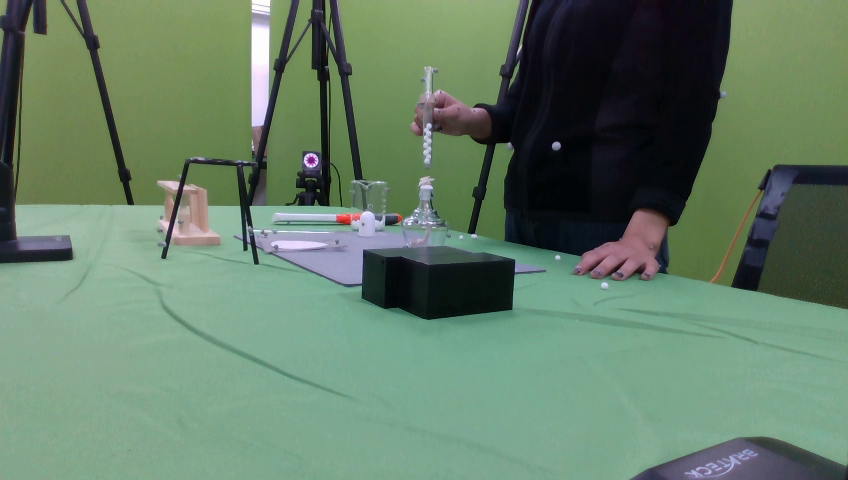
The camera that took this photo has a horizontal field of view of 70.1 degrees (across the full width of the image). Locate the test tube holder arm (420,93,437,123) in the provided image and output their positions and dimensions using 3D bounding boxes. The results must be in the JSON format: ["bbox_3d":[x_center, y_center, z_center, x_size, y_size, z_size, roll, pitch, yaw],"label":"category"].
[{"bbox_3d":[0.008,-0.216,0.997,0.013,0.015,0.178,6,1,5],"label":"test tube holder arm"}]

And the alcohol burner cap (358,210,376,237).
[{"bbox_3d":[-0.104,-0.030,1.098,0.034,0.048,0.034,3,7,0],"label":"alcohol burner cap"}]

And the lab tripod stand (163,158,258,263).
[{"bbox_3d":[-0.265,-0.041,0.802,0.148,0.131,0.148,4,7,0],"label":"lab tripod stand"}]

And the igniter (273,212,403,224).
[{"bbox_3d":[-0.179,-0.048,1.290,0.278,0.025,0.057,-1,-2,-24],"label":"igniter"}]

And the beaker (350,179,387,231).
[{"bbox_3d":[-0.111,-0.069,1.204,0.074,0.100,0.084,2,8,0],"label":"beaker"}]

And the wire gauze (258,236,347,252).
[{"bbox_3d":[-0.189,0.005,0.931,0.122,0.011,0.124,1,7,-21],"label":"wire gauze"}]

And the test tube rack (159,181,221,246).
[{"bbox_3d":[-0.395,-0.050,1.010,0.067,0.085,0.241,-2,8,-28],"label":"test tube rack"}]

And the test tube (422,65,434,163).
[{"bbox_3d":[0.006,-0.193,0.929,0.017,0.150,0.017,1,-1,0],"label":"test tube"}]

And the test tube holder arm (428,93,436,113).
[{"bbox_3d":[0.012,-0.215,0.952,0.010,0.015,0.088,5,1,-2],"label":"test tube holder arm"}]

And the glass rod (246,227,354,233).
[{"bbox_3d":[-0.224,-0.017,1.109,0.201,0.008,0.008,1,7,-27],"label":"glass rod"}]

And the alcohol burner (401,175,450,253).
[{"bbox_3d":[0.003,-0.040,0.933,0.078,0.119,0.078,2,9,0],"label":"alcohol burner"}]
